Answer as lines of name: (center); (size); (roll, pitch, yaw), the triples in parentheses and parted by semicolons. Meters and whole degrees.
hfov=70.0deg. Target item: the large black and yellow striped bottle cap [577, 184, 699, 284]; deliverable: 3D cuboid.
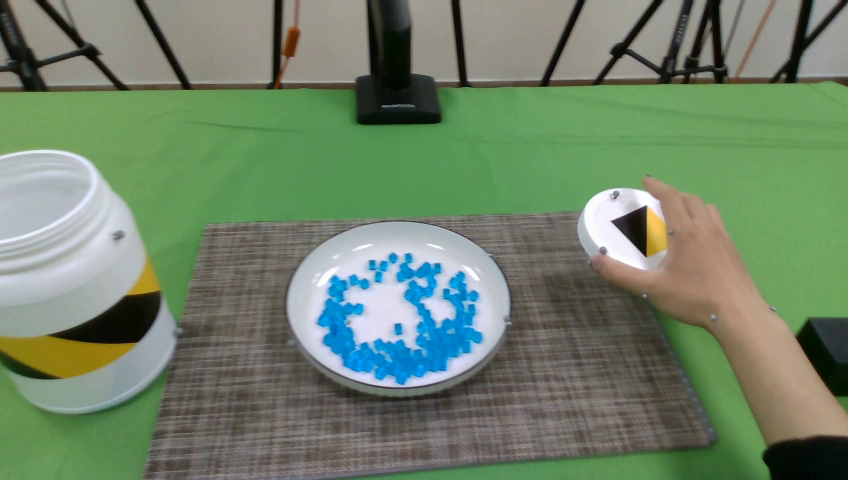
large black and yellow striped bottle cap: (0.203, -0.009, 0.577); (0.115, 0.019, 0.114); (6, 50, -7)

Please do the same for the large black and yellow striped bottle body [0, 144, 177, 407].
large black and yellow striped bottle body: (-0.283, 0.030, 0.478); (0.131, 0.185, 0.129); (2, 43, -1)

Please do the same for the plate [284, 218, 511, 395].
plate: (-0.023, 0.060, 0.566); (0.208, 0.039, 0.205); (2, 43, -2)
